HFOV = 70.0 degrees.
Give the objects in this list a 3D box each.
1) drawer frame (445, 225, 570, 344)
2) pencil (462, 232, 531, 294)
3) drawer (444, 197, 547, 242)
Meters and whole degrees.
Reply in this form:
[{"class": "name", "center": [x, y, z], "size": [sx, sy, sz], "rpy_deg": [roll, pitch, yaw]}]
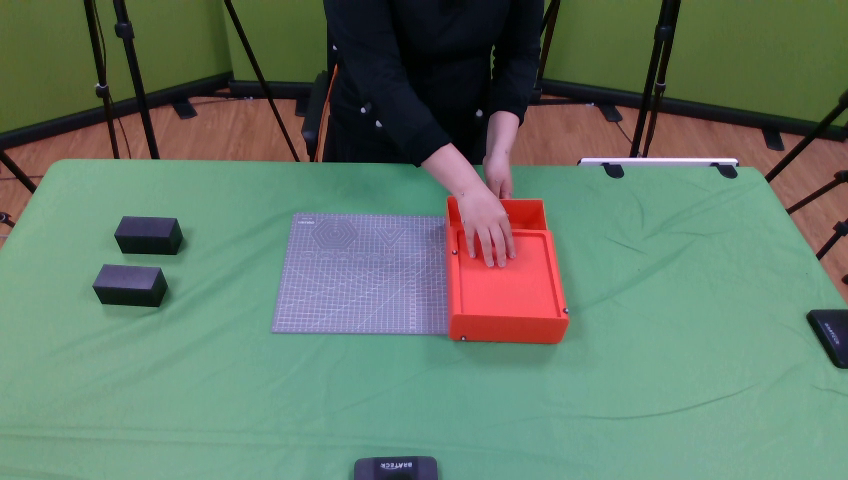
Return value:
[{"class": "drawer frame", "center": [0.141, 0.076, 1.090], "size": [0.202, 0.083, 0.212], "rpy_deg": [3, 46, -4]}, {"class": "pencil", "center": [0.135, 0.040, 1.155], "size": [0.012, 0.012, 0.193], "rpy_deg": [-27, 53, -27]}, {"class": "drawer", "center": [0.139, 0.015, 1.150], "size": [0.194, 0.073, 0.210], "rpy_deg": [3, 48, -3]}]
